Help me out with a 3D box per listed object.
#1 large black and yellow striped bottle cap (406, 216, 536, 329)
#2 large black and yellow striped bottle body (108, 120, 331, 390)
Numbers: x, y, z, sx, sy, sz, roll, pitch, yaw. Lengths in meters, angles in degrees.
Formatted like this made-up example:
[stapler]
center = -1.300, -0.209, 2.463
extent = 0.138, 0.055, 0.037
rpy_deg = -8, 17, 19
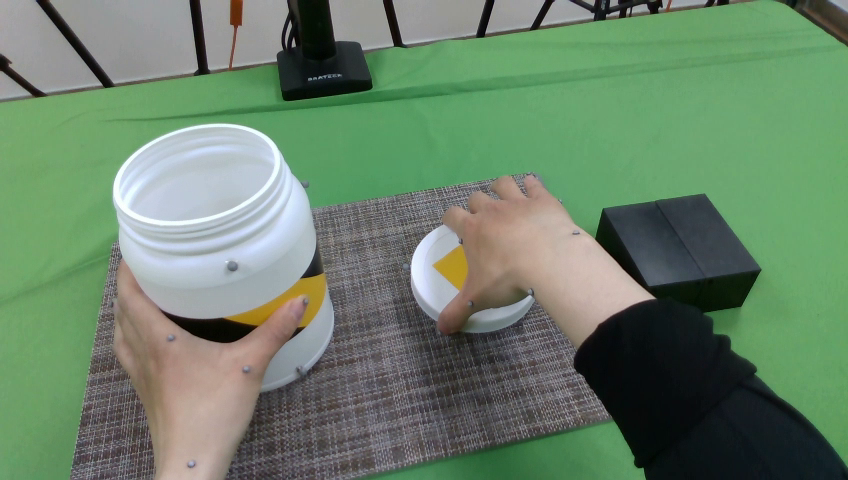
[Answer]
[large black and yellow striped bottle cap]
center = 0.042, 0.026, 0.538
extent = 0.115, 0.019, 0.114
rpy_deg = -1, 51, 1
[large black and yellow striped bottle body]
center = -0.149, 0.015, 0.464
extent = 0.131, 0.186, 0.129
rpy_deg = -1, 46, 1
